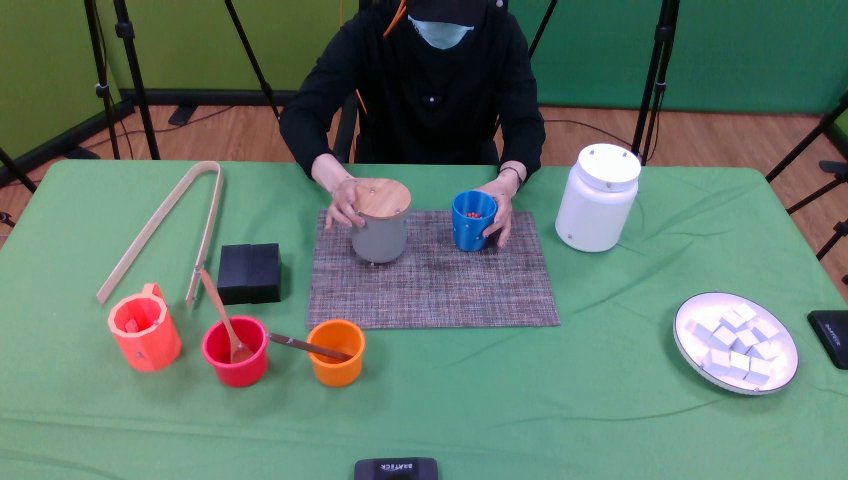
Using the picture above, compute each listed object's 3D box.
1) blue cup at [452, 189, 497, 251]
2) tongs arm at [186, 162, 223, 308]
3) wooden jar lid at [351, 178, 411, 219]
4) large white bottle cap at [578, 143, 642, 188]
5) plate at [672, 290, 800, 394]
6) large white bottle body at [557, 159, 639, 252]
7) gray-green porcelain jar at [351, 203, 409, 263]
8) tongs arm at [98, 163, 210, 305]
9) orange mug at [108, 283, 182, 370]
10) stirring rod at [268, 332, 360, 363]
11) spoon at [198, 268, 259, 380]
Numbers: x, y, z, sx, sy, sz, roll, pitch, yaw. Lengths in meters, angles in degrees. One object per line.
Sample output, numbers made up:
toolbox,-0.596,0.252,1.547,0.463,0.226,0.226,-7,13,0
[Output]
blue cup,0.092,-0.033,1.175,0.093,0.101,0.092,2,45,-2
tongs arm,-0.436,-0.024,1.181,0.051,0.027,0.382,-3,45,0
wooden jar lid,-0.078,-0.072,1.094,0.108,0.021,0.107,3,46,-3
large white bottle cap,0.344,-0.139,1.123,0.115,0.018,0.114,2,46,-2
plate,0.533,0.178,1.050,0.208,0.039,0.206,2,46,-2
large white bottle body,0.340,-0.081,1.185,0.131,0.185,0.130,2,46,-1
gray-green porcelain jar,-0.084,-0.028,1.137,0.106,0.127,0.105,4,45,-4
tongs arm,-0.520,-0.026,1.184,0.028,0.028,0.385,4,45,13
orange mug,-0.446,0.134,0.982,0.083,0.101,0.125,-1,51,-5
stirring rod,-0.167,0.169,0.941,0.177,0.006,0.014,26,25,-41
spoon,-0.313,0.133,0.962,0.041,0.021,0.194,-24,96,-21
